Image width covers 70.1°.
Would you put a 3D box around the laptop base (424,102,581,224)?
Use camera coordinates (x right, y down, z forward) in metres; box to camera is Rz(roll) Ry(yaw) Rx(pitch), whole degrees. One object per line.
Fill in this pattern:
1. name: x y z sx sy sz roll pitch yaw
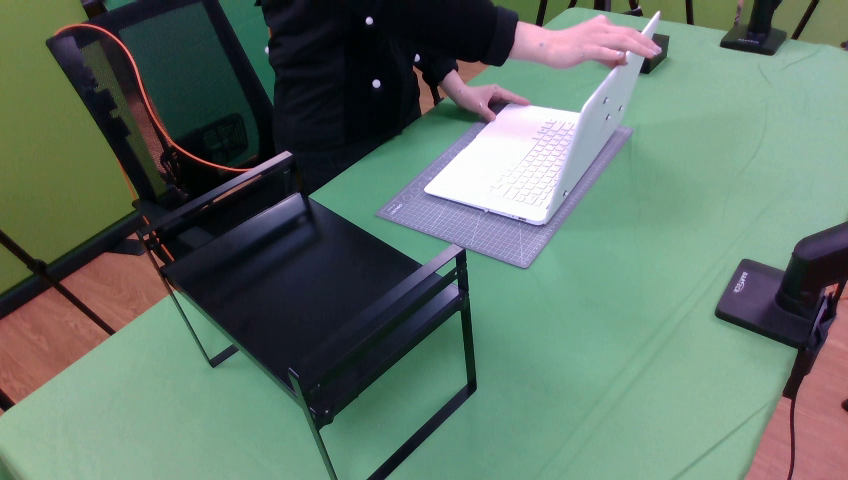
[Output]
1. laptop base: 0.188 -0.156 1.131 0.234 0.023 0.355 16 46 30

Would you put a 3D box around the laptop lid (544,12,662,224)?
1. laptop lid: 0.297 -0.203 0.990 0.013 0.242 0.357 28 49 18
